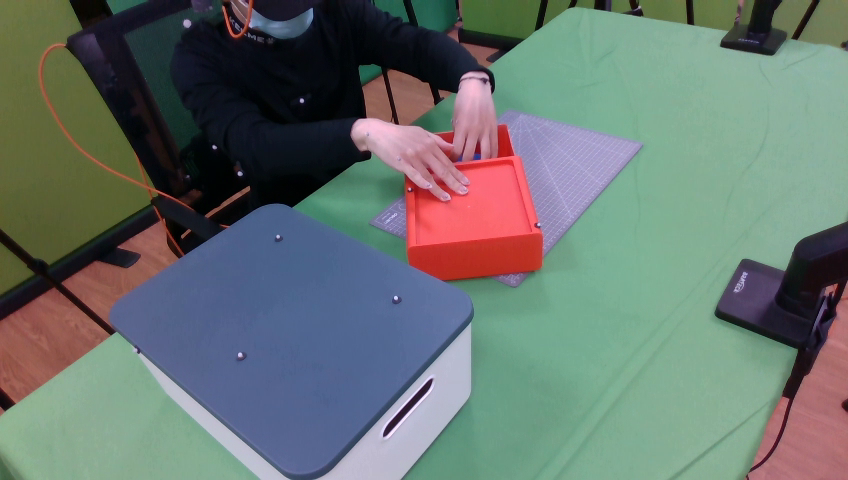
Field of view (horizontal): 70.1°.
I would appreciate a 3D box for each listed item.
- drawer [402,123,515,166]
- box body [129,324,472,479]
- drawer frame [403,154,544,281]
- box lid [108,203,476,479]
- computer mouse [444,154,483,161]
[{"bbox_3d":[0.066,-0.109,1.042,0.195,0.073,0.210,-6,41,-1],"label":"drawer"},{"bbox_3d":[-0.147,0.136,0.726,0.361,0.161,0.255,25,50,32],"label":"box body"},{"bbox_3d":[0.072,-0.041,0.959,0.202,0.083,0.212,-6,41,1],"label":"drawer frame"},{"bbox_3d":[-0.156,0.079,0.678,0.368,0.015,0.264,24,49,32],"label":"box lid"},{"bbox_3d":[0.062,-0.121,1.080,0.117,0.041,0.062,-8,42,2],"label":"computer mouse"}]
